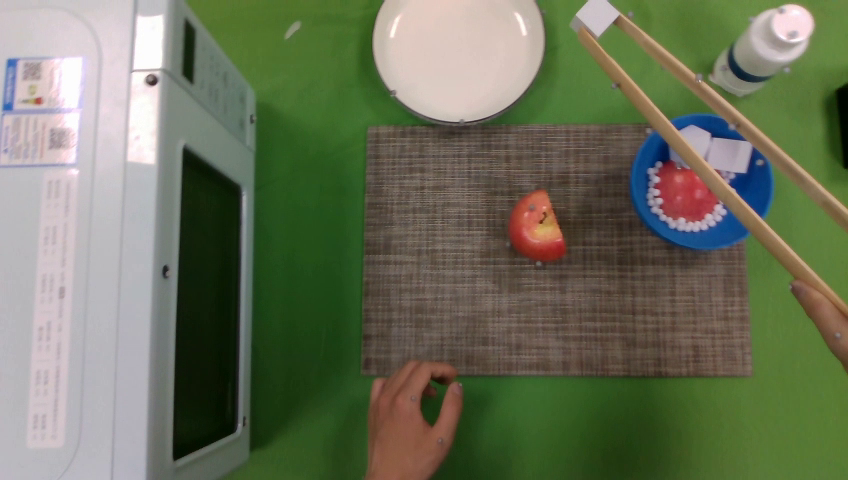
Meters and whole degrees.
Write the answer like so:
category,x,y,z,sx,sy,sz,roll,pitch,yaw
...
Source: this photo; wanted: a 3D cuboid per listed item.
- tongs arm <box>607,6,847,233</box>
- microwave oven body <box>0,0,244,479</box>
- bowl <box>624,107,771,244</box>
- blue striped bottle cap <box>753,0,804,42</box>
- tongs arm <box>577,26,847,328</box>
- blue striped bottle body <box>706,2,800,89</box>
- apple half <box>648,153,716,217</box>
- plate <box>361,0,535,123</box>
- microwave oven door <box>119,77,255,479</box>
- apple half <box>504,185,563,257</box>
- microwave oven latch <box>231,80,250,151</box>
category,x,y,z,sx,sy,sz,roll,pitch,yaw
tongs arm,0.272,-0.073,0.518,0.051,0.027,0.381,-38,66,-1
microwave oven body,-0.369,0.021,0.604,0.326,0.261,0.440,-2,83,1
bowl,0.294,-0.065,0.685,0.151,0.077,0.151,0,82,2
blue striped bottle cap,0.371,-0.230,0.634,0.044,0.020,0.044,0,85,2
tongs arm,0.252,-0.059,0.518,0.028,0.028,0.384,-33,66,-3
blue striped bottle body,0.374,-0.222,0.684,0.063,0.121,0.063,0,82,3
apple half,0.295,-0.064,0.680,0.081,0.033,0.081,0,81,2
plate,0.029,-0.240,0.740,0.207,0.039,0.207,0,83,2
microwave oven door,-0.221,0.056,0.590,0.039,0.244,0.354,-3,82,2
apple half,0.119,-0.016,0.687,0.053,0.075,0.080,-21,86,3
microwave oven latch,-0.223,-0.147,0.718,0.030,0.029,0.079,-2,83,1
